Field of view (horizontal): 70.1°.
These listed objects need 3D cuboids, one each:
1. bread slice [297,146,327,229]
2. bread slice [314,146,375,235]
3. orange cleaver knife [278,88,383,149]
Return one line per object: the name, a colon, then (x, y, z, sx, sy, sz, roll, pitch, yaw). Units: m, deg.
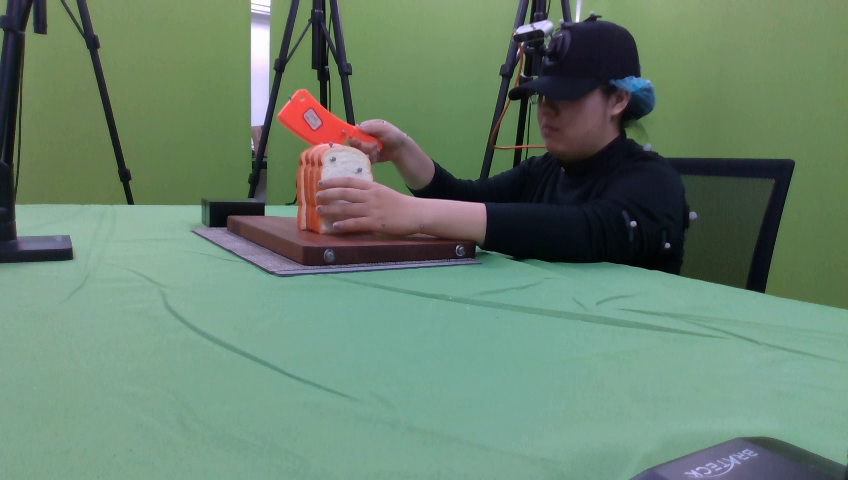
bread slice: (-0.156, -0.082, 0.957, 0.019, 0.131, 0.105, -3, -1, 45)
bread slice: (-0.124, -0.076, 0.920, 0.107, 0.134, 0.018, -9, 9, -44)
orange cleaver knife: (-0.157, -0.189, 1.049, 0.212, 0.077, 0.012, 24, 0, -44)
